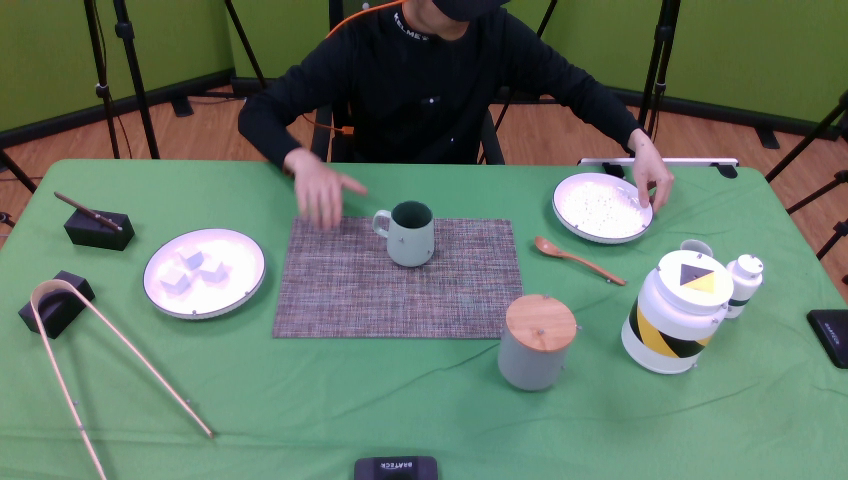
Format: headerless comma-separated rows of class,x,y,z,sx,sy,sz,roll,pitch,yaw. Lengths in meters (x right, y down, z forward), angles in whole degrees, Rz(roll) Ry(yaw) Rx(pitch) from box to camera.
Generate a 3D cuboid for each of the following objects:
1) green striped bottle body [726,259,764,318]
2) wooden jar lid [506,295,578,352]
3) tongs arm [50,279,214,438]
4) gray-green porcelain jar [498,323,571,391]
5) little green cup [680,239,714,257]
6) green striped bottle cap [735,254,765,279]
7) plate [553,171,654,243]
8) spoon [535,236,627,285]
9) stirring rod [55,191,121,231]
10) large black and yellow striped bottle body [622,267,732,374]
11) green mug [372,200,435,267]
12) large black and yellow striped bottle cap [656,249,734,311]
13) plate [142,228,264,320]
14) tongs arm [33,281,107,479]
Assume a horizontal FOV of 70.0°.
green striped bottle body,0.563,0.081,1.089,0.063,0.120,0.063,2,46,-2
wooden jar lid,0.179,0.129,0.925,0.108,0.021,0.107,2,43,-2
tongs arm,-0.459,0.178,0.949,0.386,0.028,0.028,37,60,17
gray-green porcelain jar,0.176,0.172,0.971,0.106,0.127,0.105,2,46,-2
little green cup,0.530,0.033,1.190,0.061,0.039,0.061,2,47,-2
green striped bottle cap,0.566,0.046,1.051,0.044,0.020,0.044,0,45,0
plate,0.373,-0.065,1.273,0.209,0.038,0.208,2,46,-2
spoon,0.303,0.040,1.178,0.193,0.022,0.041,25,34,20
stirring rod,-0.632,-0.055,1.138,0.175,0.014,0.006,24,50,19
large black and yellow striped bottle body,0.415,0.119,0.997,0.131,0.185,0.130,2,46,-2
green mug,-0.040,-0.016,1.146,0.125,0.105,0.092,17,48,13
large black and yellow striped bottle cap,0.419,0.061,0.938,0.115,0.019,0.114,2,47,-2
plate,-0.394,0.064,1.095,0.208,0.039,0.206,2,46,-2
tongs arm,-0.517,0.214,0.910,0.051,0.026,0.383,-28,63,-27
